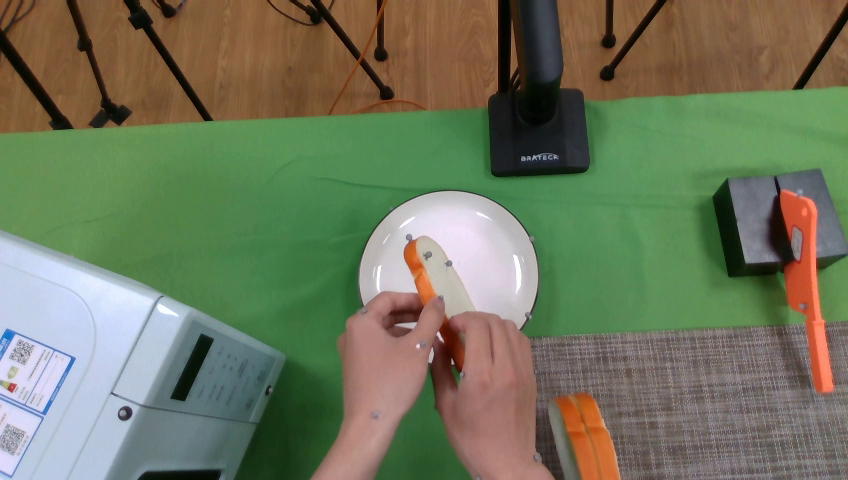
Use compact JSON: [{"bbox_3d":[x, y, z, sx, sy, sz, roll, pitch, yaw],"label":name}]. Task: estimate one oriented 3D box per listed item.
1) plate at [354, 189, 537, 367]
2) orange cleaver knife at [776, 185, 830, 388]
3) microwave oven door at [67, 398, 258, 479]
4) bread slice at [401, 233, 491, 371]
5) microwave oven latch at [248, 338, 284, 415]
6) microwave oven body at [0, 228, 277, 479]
[{"bbox_3d":[0.025,0.043,0.697,0.207,0.039,0.206,-2,71,5],"label":"plate"},{"bbox_3d":[0.395,0.046,0.636,0.012,0.077,0.211,-7,91,6],"label":"orange cleaver knife"},{"bbox_3d":[-0.269,0.311,0.508,0.039,0.245,0.354,17,74,12],"label":"microwave oven door"},{"bbox_3d":[0.020,0.056,0.580,0.018,0.107,0.134,-29,89,14],"label":"bread slice"},{"bbox_3d":[-0.181,0.149,0.662,0.030,0.030,0.079,20,75,11],"label":"microwave oven latch"},{"bbox_3d":[-0.390,0.232,0.552,0.325,0.262,0.440,18,75,11],"label":"microwave oven body"}]
